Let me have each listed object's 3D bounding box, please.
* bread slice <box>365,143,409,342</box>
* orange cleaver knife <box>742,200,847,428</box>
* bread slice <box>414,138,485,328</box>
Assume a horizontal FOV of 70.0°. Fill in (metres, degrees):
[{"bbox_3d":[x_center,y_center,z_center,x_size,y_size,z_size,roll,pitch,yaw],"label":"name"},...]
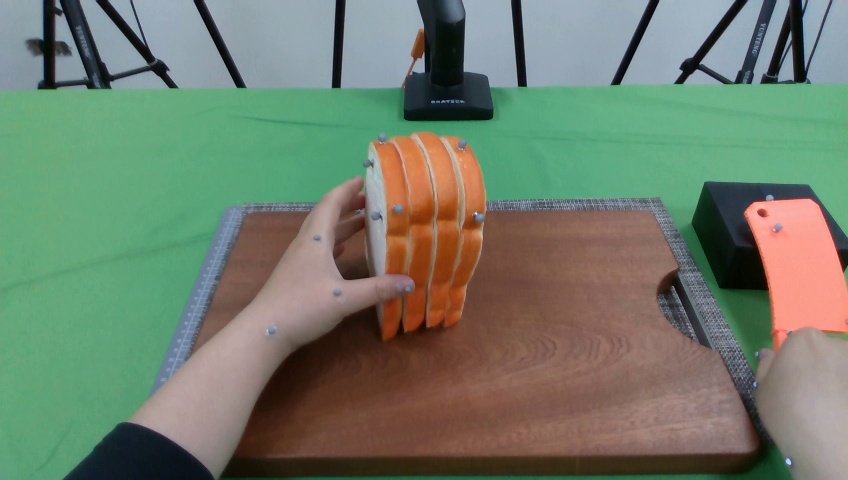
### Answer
[{"bbox_3d":[-0.031,-0.006,0.471,0.018,0.135,0.106,-6,37,-13],"label":"bread slice"},{"bbox_3d":[0.304,0.050,0.488,0.077,0.012,0.209,10,58,5],"label":"orange cleaver knife"},{"bbox_3d":[0.019,-0.011,0.477,0.019,0.132,0.103,-2,41,-16],"label":"bread slice"}]
